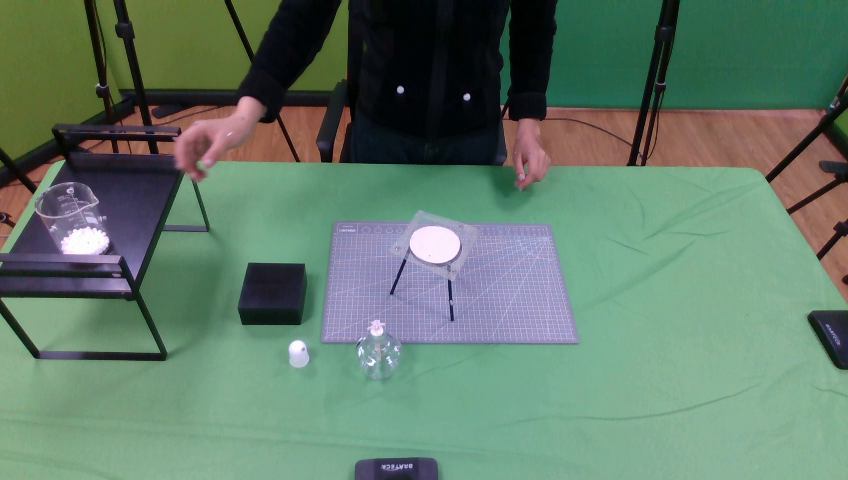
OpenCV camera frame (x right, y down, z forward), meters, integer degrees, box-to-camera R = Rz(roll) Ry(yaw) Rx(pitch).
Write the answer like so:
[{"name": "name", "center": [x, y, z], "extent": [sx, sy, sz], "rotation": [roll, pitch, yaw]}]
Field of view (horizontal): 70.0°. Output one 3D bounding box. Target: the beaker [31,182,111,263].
[{"name": "beaker", "center": [-0.502, -0.022, 0.877], "extent": [0.084, 0.101, 0.073], "rotation": [-2, 47, -7]}]

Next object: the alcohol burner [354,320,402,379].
[{"name": "alcohol burner", "center": [-0.074, 0.169, 0.964], "extent": [0.078, 0.120, 0.077], "rotation": [1, 46, -1]}]

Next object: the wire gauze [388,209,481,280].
[{"name": "wire gauze", "center": [0.018, 0.002, 1.019], "extent": [0.125, 0.011, 0.121], "rotation": [21, 49, 16]}]

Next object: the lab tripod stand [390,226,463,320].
[{"name": "lab tripod stand", "center": [0.014, 0.053, 1.063], "extent": [0.148, 0.132, 0.147], "rotation": [1, 48, -1]}]

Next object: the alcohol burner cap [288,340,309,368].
[{"name": "alcohol burner cap", "center": [-0.207, 0.183, 0.991], "extent": [0.034, 0.048, 0.033], "rotation": [3, 47, -3]}]
